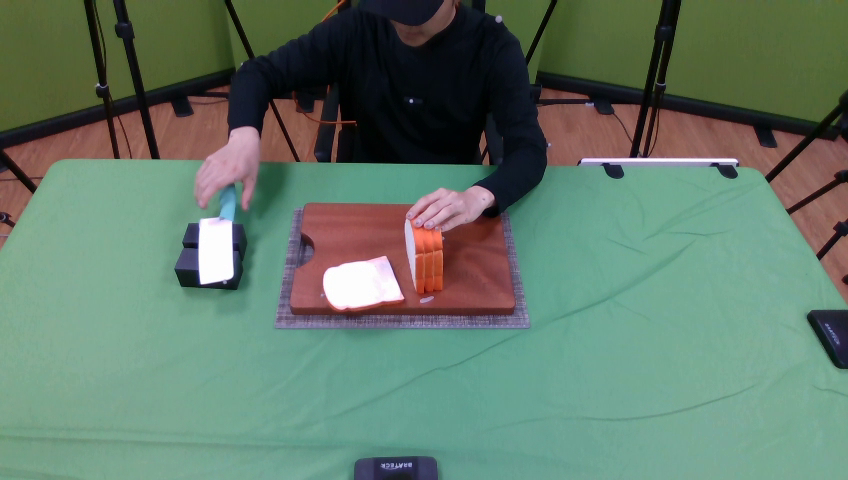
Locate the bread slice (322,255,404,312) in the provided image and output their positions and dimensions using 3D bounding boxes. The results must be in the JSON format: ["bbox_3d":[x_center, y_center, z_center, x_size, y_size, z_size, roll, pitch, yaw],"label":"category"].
[{"bbox_3d":[-0.114,0.079,1.068,0.132,0.019,0.104,-10,51,-18],"label":"bread slice"}]

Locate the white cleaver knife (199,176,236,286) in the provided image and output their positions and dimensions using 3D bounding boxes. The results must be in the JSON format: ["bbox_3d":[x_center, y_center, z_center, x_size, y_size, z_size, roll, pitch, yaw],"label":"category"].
[{"bbox_3d":[-0.386,-0.026,1.134,0.066,0.021,0.284,-6,45,-11],"label":"white cleaver knife"}]

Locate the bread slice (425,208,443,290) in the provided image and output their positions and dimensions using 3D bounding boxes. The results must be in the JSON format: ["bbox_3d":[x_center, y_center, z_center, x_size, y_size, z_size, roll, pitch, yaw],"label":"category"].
[{"bbox_3d":[0.017,0.011,1.070,0.018,0.135,0.106,-7,51,-6],"label":"bread slice"}]
